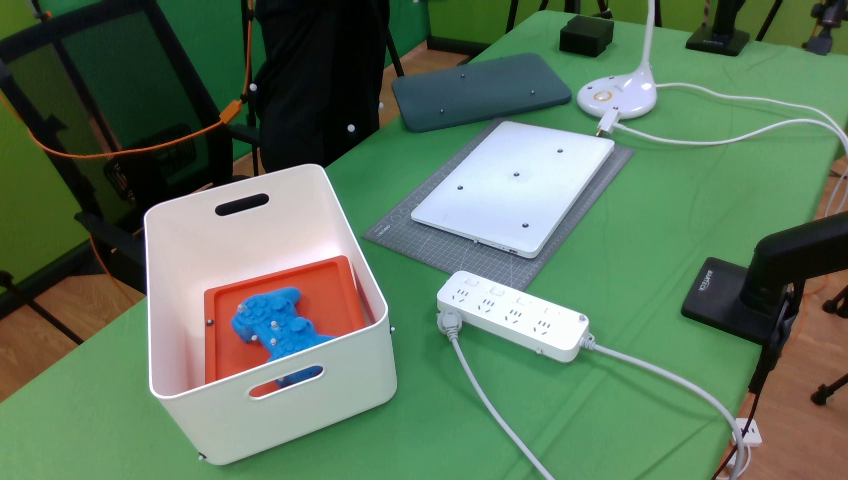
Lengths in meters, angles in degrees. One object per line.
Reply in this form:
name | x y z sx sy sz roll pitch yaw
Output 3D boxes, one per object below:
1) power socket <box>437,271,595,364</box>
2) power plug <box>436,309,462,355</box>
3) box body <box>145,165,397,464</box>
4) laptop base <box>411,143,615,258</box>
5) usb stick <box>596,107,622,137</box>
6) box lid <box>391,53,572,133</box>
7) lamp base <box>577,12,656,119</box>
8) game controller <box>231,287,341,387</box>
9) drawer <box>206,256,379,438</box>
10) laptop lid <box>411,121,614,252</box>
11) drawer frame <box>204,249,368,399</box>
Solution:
power socket | 0.118 0.102 0.830 0.225 0.033 0.072 20 48 28
power plug | 0.033 0.126 0.810 0.035 0.053 0.072 2 59 7
box body | -0.205 0.080 0.802 0.255 0.161 0.361 -18 41 -13
laptop base | 0.167 -0.102 1.074 0.234 0.023 0.355 16 45 30
usb stick | 0.355 -0.223 1.168 0.027 0.059 0.022 37 13 34
box lid | 0.123 -0.339 1.366 0.372 0.015 0.261 -12 40 -5
lamp base | 0.405 -0.360 1.219 0.180 0.181 0.159 -23 43 -22
game controller | -0.167 0.110 0.734 0.097 0.052 0.154 -34 47 -22
drawer | -0.177 0.130 0.787 0.195 0.073 0.210 -14 39 -9
laptop lid | 0.164 -0.112 1.068 0.240 0.013 0.357 19 46 30
drawer frame | -0.174 0.129 0.790 0.202 0.083 0.212 -16 45 -8
